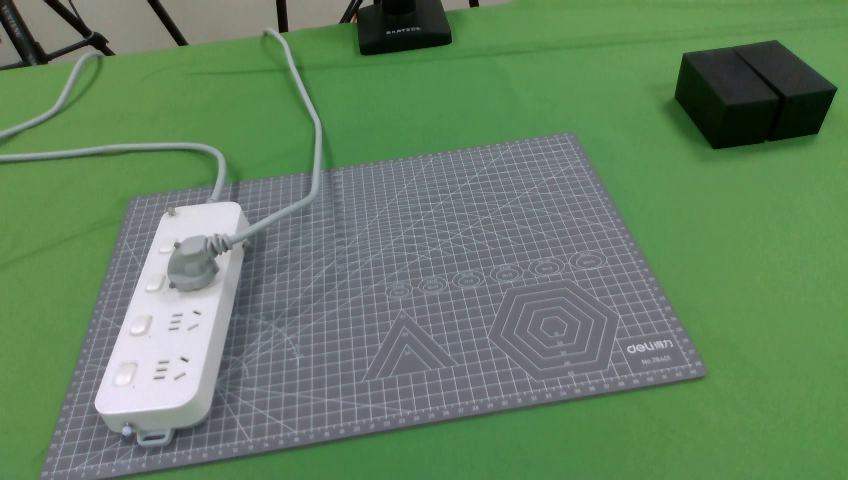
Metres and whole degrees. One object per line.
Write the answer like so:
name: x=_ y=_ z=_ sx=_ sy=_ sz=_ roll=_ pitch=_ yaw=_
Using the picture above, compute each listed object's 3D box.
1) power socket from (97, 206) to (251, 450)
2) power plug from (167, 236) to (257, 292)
power socket: x=-0.186 y=0.052 z=0.474 sx=0.072 sy=0.033 sz=0.224 roll=-5 pitch=44 yaw=0
power plug: x=-0.161 y=0.025 z=0.463 sx=0.072 sy=0.053 sz=0.035 roll=1 pitch=45 yaw=9
